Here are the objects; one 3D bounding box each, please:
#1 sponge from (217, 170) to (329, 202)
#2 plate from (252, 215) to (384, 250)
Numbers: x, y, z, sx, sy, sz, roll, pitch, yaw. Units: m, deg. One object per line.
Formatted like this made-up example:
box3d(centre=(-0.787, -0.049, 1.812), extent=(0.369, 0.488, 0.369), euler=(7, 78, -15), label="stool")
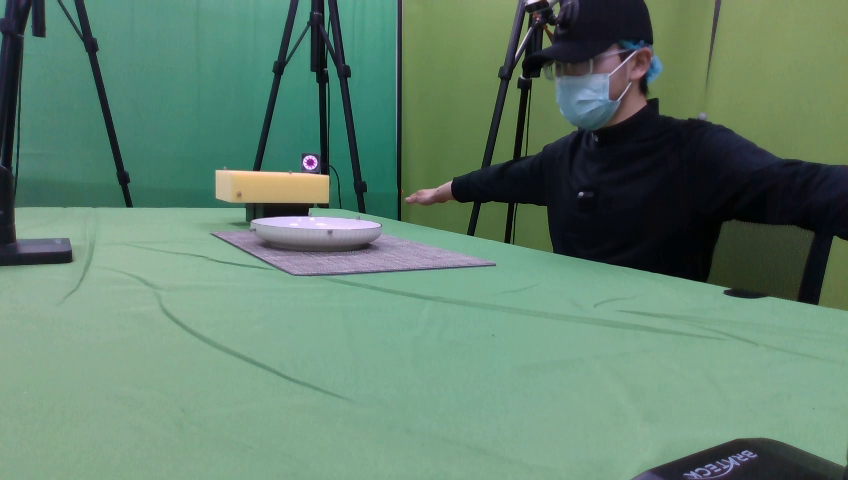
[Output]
box3d(centre=(-0.318, -0.113, 1.274), extent=(0.208, 0.061, 0.117), euler=(-3, 9, -33), label="sponge")
box3d(centre=(-0.169, -0.012, 0.976), extent=(0.208, 0.039, 0.207), euler=(2, 7, 0), label="plate")
